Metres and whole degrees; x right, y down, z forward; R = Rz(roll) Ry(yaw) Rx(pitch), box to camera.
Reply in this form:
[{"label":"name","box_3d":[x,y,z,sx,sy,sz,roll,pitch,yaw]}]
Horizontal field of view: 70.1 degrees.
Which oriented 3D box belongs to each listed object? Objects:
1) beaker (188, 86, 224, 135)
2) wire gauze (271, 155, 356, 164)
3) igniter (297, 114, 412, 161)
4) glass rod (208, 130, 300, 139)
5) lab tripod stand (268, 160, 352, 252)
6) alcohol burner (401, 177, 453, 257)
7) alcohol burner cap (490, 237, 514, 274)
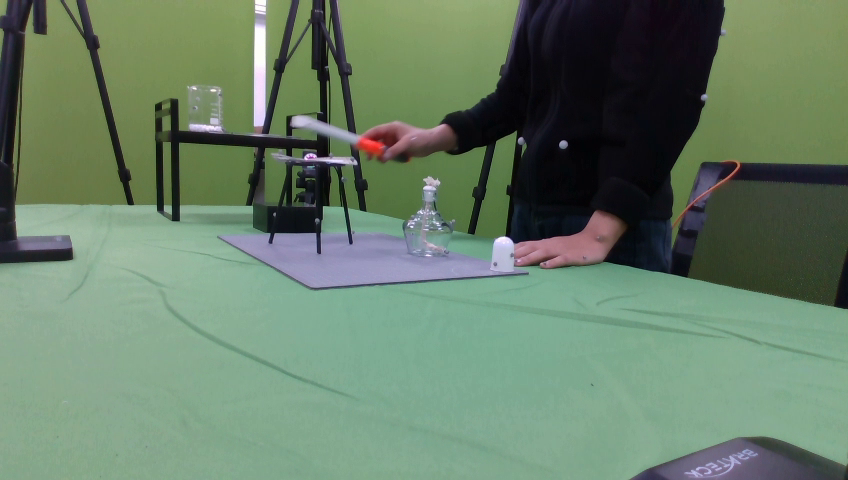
[{"label":"beaker","box_3d":[-0.474,-0.280,1.311,0.074,0.100,0.084,5,8,25]},{"label":"wire gauze","box_3d":[-0.167,-0.122,0.917,0.125,0.011,0.121,0,8,-9]},{"label":"igniter","box_3d":[-0.118,-0.184,1.114,0.057,0.025,0.278,17,4,37]},{"label":"glass rod","box_3d":[-0.367,-0.231,1.321,0.201,0.008,0.008,-1,8,-30]},{"label":"lab tripod stand","box_3d":[-0.171,-0.055,0.922,0.148,0.131,0.148,1,9,0]},{"label":"alcohol burner","box_3d":[0.006,-0.035,0.903,0.078,0.119,0.078,4,6,0]},{"label":"alcohol burner cap","box_3d":[0.104,0.020,0.793,0.034,0.048,0.034,2,6,0]}]
